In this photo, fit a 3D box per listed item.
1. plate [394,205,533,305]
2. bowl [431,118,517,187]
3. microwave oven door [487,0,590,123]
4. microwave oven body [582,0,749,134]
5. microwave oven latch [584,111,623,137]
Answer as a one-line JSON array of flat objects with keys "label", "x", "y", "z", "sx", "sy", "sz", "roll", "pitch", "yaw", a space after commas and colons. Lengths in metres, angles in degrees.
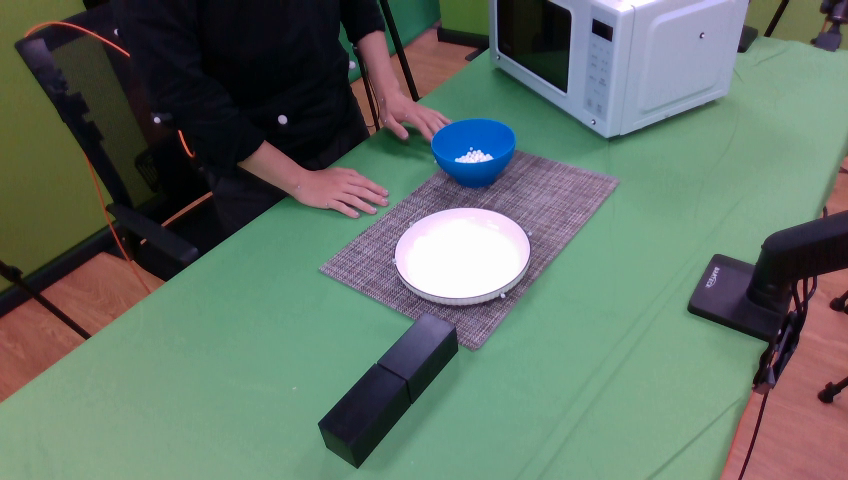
[{"label": "plate", "x": 0.059, "y": 0.025, "z": 0.915, "sx": 0.207, "sy": 0.039, "sz": 0.206, "roll": -4, "pitch": 41, "yaw": 4}, {"label": "bowl", "x": 0.090, "y": -0.147, "z": 1.080, "sx": 0.151, "sy": 0.077, "sz": 0.150, "roll": -4, "pitch": 41, "yaw": 4}, {"label": "microwave oven door", "x": 0.232, "y": -0.420, "z": 1.231, "sx": 0.039, "sy": 0.245, "sz": 0.352, "roll": -22, "pitch": 43, "yaw": -16}, {"label": "microwave oven body", "x": 0.382, "y": -0.444, "z": 1.246, "sx": 0.327, "sy": 0.261, "sz": 0.437, "roll": -22, "pitch": 42, "yaw": -16}, {"label": "microwave oven latch", "x": 0.337, "y": -0.222, "z": 1.142, "sx": 0.030, "sy": 0.029, "sz": 0.078, "roll": -21, "pitch": 42, "yaw": -14}]
